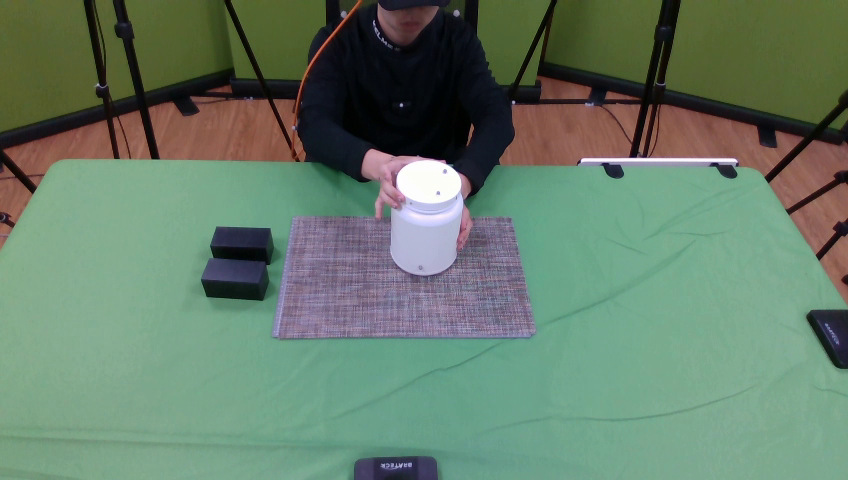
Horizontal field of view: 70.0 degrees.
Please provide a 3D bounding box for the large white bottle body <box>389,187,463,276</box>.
[{"bbox_3d":[0.003,-0.038,1.117,0.131,0.185,0.130,3,47,-2],"label":"large white bottle body"}]

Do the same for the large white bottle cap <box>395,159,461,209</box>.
[{"bbox_3d":[0.007,-0.099,1.053,0.115,0.018,0.114,4,47,-4],"label":"large white bottle cap"}]
